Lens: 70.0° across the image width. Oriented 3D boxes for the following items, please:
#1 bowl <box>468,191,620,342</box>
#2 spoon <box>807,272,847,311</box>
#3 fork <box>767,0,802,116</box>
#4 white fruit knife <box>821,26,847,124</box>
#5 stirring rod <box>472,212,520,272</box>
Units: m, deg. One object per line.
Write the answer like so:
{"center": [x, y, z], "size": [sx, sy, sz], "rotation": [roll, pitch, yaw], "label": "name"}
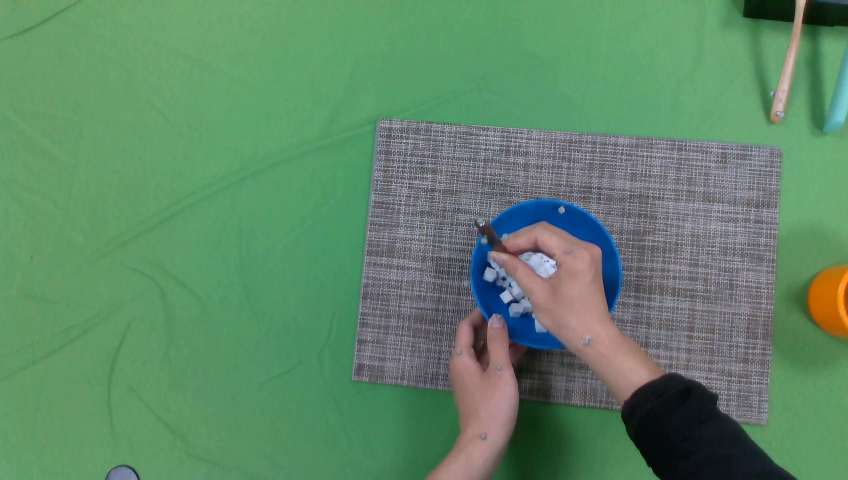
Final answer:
{"center": [0.121, 0.029, 0.636], "size": [0.151, 0.077, 0.151], "rotation": [0, 86, 4], "label": "bowl"}
{"center": [0.480, 0.057, 0.581], "size": [0.022, 0.192, 0.041], "rotation": [9, 86, -40], "label": "spoon"}
{"center": [0.389, -0.236, 0.638], "size": [0.028, 0.018, 0.208], "rotation": [2, 106, 1], "label": "fork"}
{"center": [0.450, -0.226, 0.632], "size": [0.016, 0.027, 0.208], "rotation": [6, 103, 2], "label": "white fruit knife"}
{"center": [0.071, 0.006, 0.574], "size": [0.014, 0.177, 0.006], "rotation": [11, 76, 21], "label": "stirring rod"}
